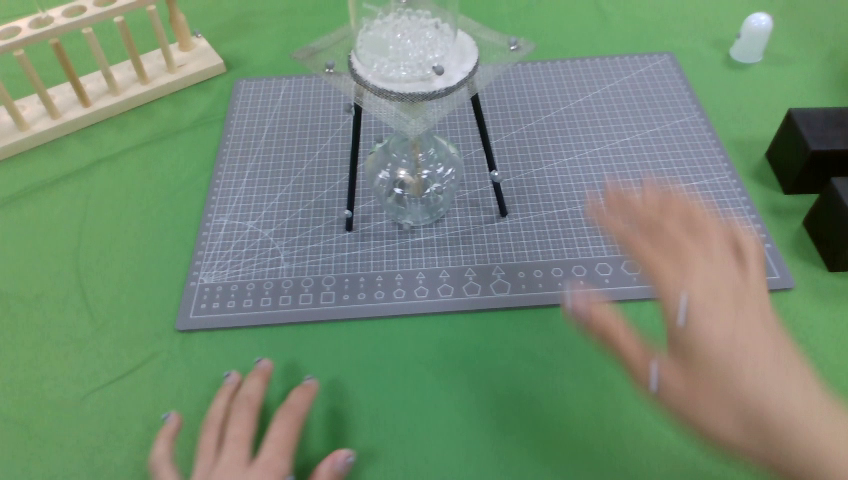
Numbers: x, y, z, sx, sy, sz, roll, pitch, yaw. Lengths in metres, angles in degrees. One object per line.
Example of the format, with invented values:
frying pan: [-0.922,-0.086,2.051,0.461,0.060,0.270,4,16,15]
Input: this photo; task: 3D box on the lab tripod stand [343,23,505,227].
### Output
lab tripod stand: [-0.004,-0.083,0.462,0.148,0.132,0.147,0,50,0]

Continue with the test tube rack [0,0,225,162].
test tube rack: [-0.327,-0.165,0.577,0.242,0.086,0.066,-29,55,-20]

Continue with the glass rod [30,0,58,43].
glass rod: [-0.339,-0.207,0.526,0.008,0.201,0.008,2,50,-2]

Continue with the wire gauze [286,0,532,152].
wire gauze: [-0.010,-0.123,0.410,0.124,0.011,0.121,38,62,25]

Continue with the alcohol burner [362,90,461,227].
alcohol burner: [-0.010,-0.066,0.461,0.078,0.120,0.077,0,52,1]

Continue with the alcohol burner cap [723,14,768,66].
alcohol burner cap: [0.327,-0.205,0.612,0.034,0.048,0.033,-1,50,1]

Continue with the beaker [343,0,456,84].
beaker: [-0.018,-0.156,0.374,0.084,0.101,0.073,11,51,10]
